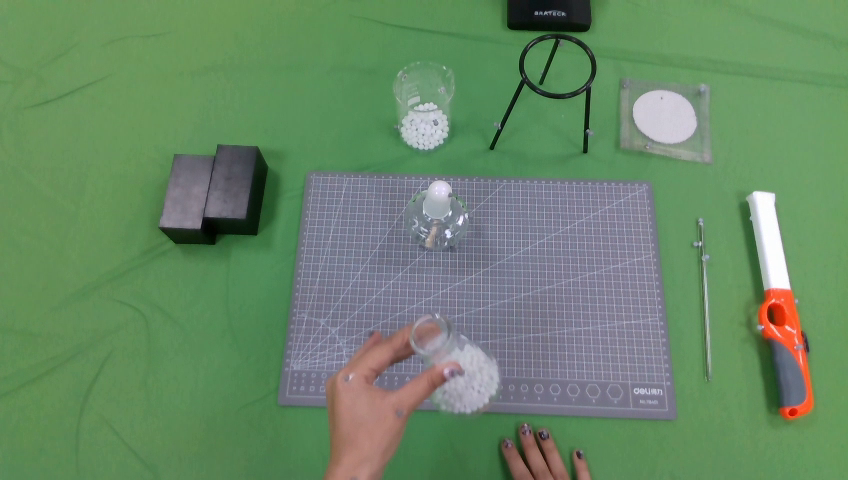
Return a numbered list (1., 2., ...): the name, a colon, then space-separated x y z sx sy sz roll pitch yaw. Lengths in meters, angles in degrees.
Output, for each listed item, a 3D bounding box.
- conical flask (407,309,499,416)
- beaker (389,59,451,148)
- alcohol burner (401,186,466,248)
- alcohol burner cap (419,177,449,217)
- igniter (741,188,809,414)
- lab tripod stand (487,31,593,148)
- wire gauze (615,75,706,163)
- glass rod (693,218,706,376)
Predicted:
1. conical flask: 0.020 0.104 0.534 0.075 0.123 0.074 -8 58 14
2. beaker: -0.002 -0.172 0.776 0.084 0.101 0.073 -37 73 -14
3. alcohol burner: 0.012 -0.037 0.712 0.078 0.120 0.077 1 68 -2
4. alcohol burner cap: 0.013 -0.052 0.679 0.034 0.048 0.033 4 62 -7
5. igniter: 0.417 0.066 0.723 0.057 0.025 0.274 6 69 -9
6. lab tripod stand: 0.150 -0.181 0.761 0.148 0.132 0.147 0 71 1
7. wire gauze: 0.322 -0.169 0.824 0.125 0.011 0.120 9 70 1
8. glass rod: 0.333 0.064 0.733 0.008 0.008 0.198 7 69 2
